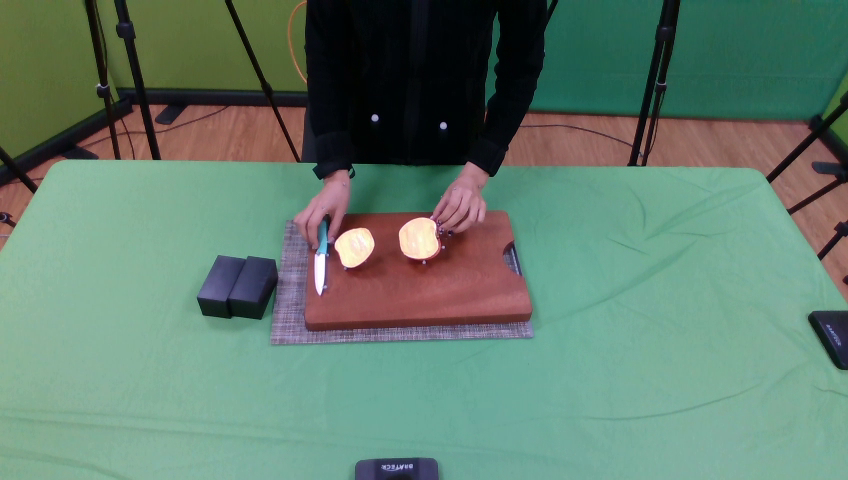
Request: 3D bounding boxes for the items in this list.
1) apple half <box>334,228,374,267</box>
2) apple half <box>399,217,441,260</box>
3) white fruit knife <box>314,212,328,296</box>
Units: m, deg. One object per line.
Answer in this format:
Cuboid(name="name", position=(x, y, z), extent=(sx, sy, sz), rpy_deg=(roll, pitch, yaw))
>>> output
Cuboid(name="apple half", position=(-0.123, 0.017, 1.120), extent=(0.081, 0.033, 0.081), rpy_deg=(-8, 62, 15))
Cuboid(name="apple half", position=(-0.005, 0.001, 1.131), extent=(0.074, 0.053, 0.080), rpy_deg=(-13, 76, 7))
Cuboid(name="white fruit knife", position=(-0.192, 0.022, 1.128), extent=(0.027, 0.016, 0.206), rpy_deg=(-21, 47, 14))
